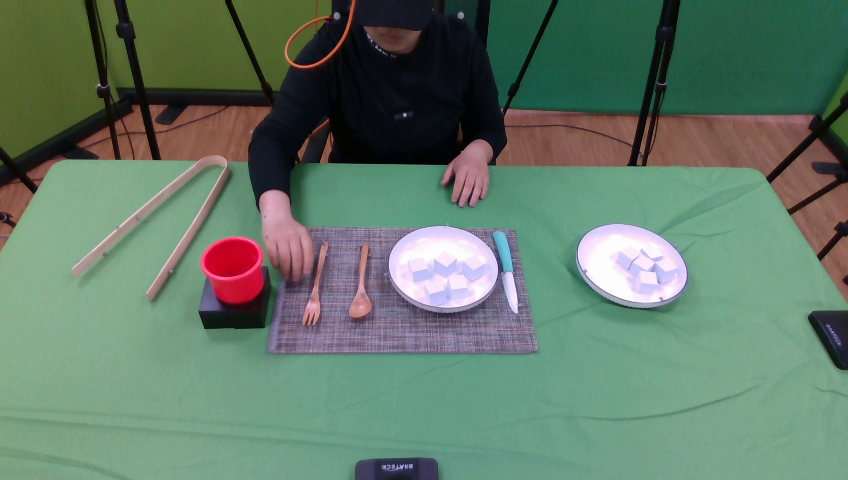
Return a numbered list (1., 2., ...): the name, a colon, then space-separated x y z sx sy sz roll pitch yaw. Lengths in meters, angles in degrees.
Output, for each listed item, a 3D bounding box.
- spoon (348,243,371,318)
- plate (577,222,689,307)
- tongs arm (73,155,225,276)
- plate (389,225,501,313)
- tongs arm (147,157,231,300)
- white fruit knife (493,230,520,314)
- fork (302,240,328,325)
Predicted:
1. spoon: -0.113 0.070 1.115 0.041 0.022 0.192 -11 45 11
2. plate: 0.396 0.050 1.165 0.209 0.038 0.208 2 47 -2
3. tongs arm: -0.531 -0.058 1.205 0.050 0.026 0.383 18 47 13
4. plate: 0.038 0.057 1.129 0.208 0.039 0.206 2 46 -2
5. tongs arm: -0.454 -0.036 1.193 0.028 0.028 0.385 6 46 6
6. white fruit knife: 0.160 0.057 1.154 0.027 0.016 0.206 -21 46 16
7. fork: -0.195 0.074 1.108 0.028 0.019 0.206 -1 48 4
